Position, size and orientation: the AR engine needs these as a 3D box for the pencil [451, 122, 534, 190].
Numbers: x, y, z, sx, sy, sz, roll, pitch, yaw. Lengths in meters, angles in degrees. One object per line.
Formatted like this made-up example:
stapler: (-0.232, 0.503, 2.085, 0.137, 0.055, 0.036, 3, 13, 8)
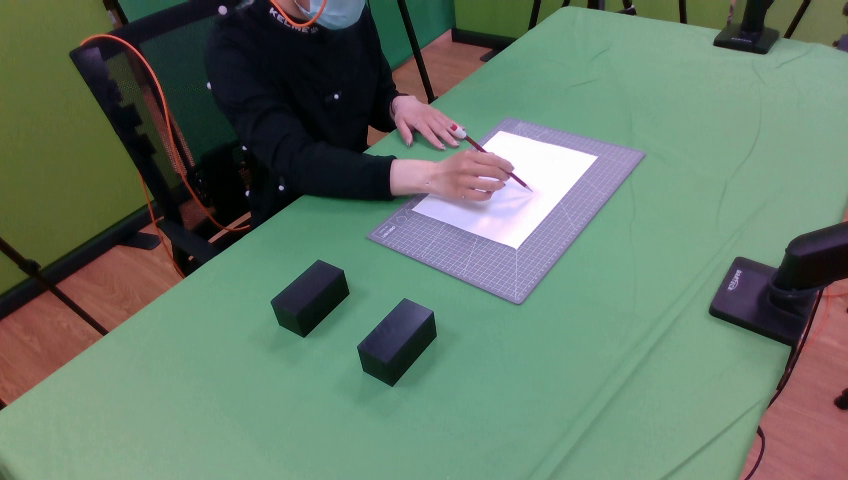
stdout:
pencil: (0.117, -0.135, 0.998, 0.012, 0.195, 0.012, -39, 31, 30)
